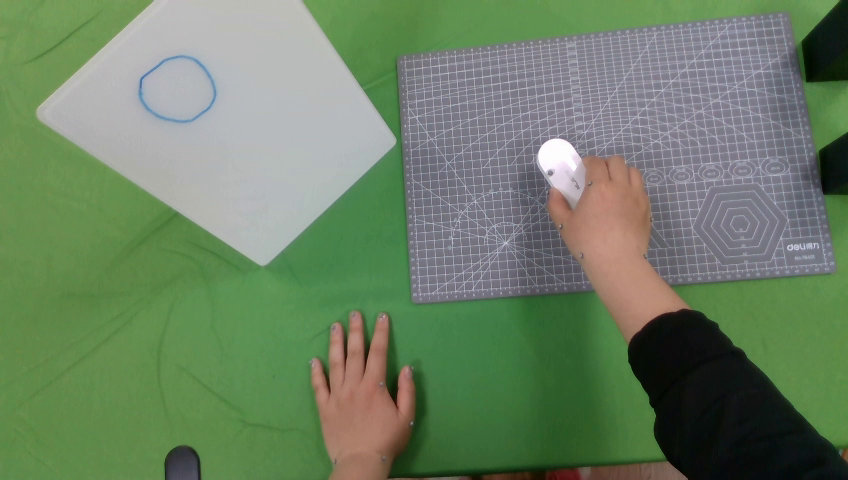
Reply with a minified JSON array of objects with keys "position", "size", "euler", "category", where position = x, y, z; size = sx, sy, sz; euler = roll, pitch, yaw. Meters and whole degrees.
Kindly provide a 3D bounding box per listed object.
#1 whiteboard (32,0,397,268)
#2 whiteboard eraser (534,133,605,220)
[{"position":[-0.201,-0.145,0.612],"size":[0.217,0.308,0.142],"euler":[-44,58,-2],"category":"whiteboard"},{"position":[0.154,-0.067,0.644],"size":[0.041,0.019,0.101],"euler":[-32,85,-6],"category":"whiteboard eraser"}]
